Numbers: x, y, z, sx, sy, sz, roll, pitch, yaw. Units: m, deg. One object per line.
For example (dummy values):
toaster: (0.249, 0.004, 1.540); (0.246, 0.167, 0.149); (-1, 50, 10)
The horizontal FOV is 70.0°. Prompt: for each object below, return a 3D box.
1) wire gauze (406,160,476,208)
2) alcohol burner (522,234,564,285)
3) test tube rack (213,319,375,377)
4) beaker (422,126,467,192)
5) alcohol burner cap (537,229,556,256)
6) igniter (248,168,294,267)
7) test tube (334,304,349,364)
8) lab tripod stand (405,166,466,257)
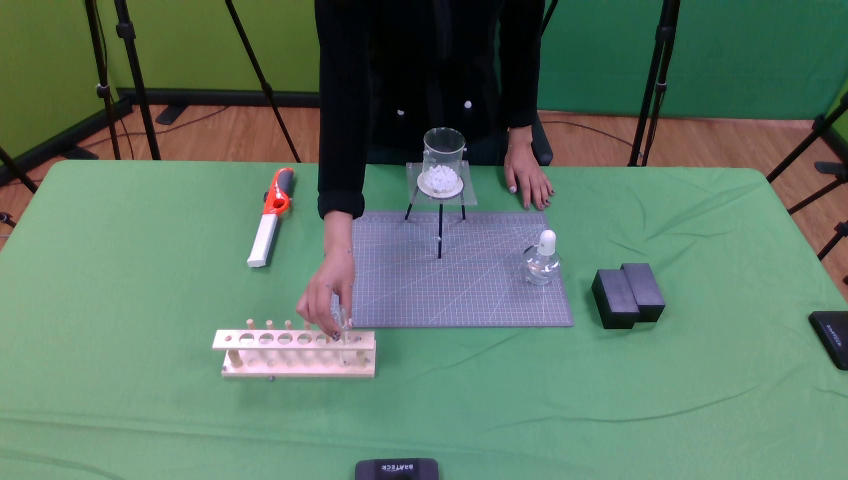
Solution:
wire gauze: (0.031, -0.107, 1.130); (0.125, 0.011, 0.120); (1, 48, -7)
alcohol burner: (0.223, 0.027, 1.120); (0.078, 0.119, 0.077); (2, 48, -2)
test tube rack: (-0.202, 0.170, 0.977); (0.242, 0.085, 0.066); (1, 46, -3)
beaker: (0.032, -0.145, 1.100); (0.074, 0.101, 0.083); (-16, 50, -19)
alcohol burner cap: (0.223, 0.001, 1.095); (0.034, 0.048, 0.033); (-1, 44, 1)
igniter: (-0.307, -0.055, 1.225); (0.057, 0.025, 0.275); (-3, 46, 7)
test tube: (-0.125, 0.148, 0.928); (0.017, 0.151, 0.017); (2, 48, -2)
lab tripod stand: (0.030, -0.063, 1.180); (0.148, 0.132, 0.147); (3, 47, -3)
